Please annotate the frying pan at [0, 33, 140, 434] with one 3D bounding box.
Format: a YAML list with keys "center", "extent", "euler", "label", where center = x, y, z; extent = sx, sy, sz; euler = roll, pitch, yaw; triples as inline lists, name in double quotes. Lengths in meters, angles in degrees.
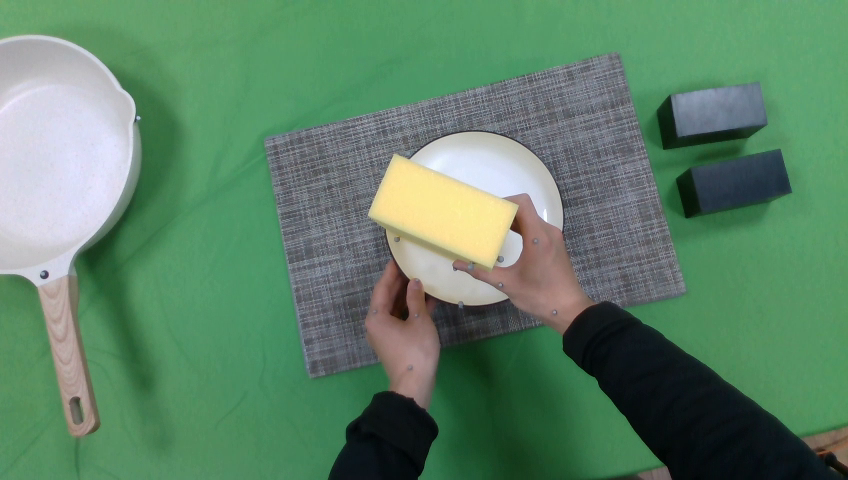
- center: [-0.448, -0.009, 0.716]
  extent: [0.307, 0.103, 0.484]
  euler: [-21, 74, 3]
  label: "frying pan"

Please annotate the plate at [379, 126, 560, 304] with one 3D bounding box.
- center: [0.052, -0.028, 0.708]
  extent: [0.207, 0.039, 0.207]
  euler: [0, 83, 4]
  label: "plate"

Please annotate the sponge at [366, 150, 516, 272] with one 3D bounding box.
- center: [0.022, -0.020, 0.615]
  extent: [0.118, 0.207, 0.061]
  euler: [22, 87, 6]
  label: "sponge"
